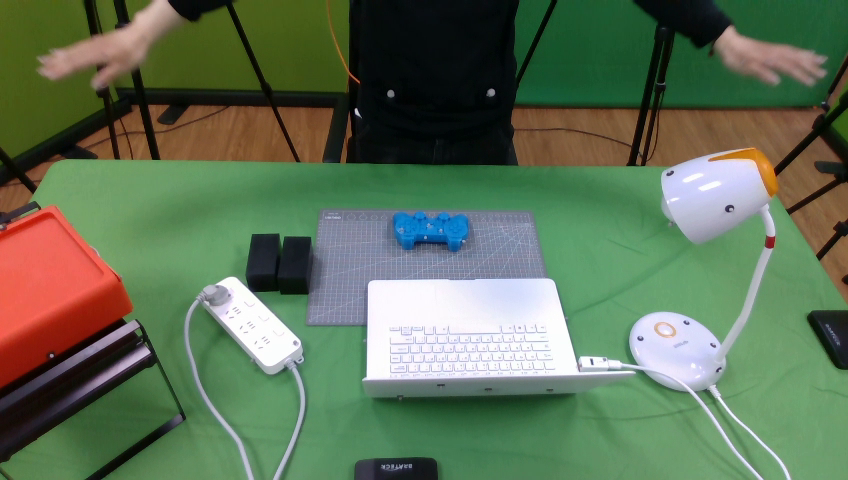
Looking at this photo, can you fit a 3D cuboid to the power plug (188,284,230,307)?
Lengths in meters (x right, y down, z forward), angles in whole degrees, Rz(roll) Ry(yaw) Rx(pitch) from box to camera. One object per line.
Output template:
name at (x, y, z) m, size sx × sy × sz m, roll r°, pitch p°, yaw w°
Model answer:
power plug at (-0.368, 0.100, 1.036) m, size 0.072 × 0.053 × 0.035 m, roll -27°, pitch 54°, yaw -24°

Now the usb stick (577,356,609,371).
usb stick at (0.274, 0.207, 1.007) m, size 0.059 × 0.027 × 0.021 m, roll 0°, pitch 52°, yaw 0°

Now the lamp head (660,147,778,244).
lamp head at (0.389, -0.063, 0.784) m, size 0.123 × 0.113 × 0.112 m, roll -22°, pitch 33°, yaw 37°

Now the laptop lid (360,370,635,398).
laptop lid at (0.090, 0.208, 0.863) m, size 0.357 × 0.242 × 0.013 m, roll 0°, pitch 71°, yaw -6°

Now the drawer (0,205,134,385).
drawer at (-0.533, 0.071, 0.802) m, size 0.193 × 0.073 × 0.211 m, roll 37°, pitch 55°, yaw 26°

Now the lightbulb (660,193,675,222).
lightbulb at (0.366, -0.060, 0.806) m, size 0.060 × 0.107 × 0.059 m, roll 17°, pitch 60°, yaw -32°

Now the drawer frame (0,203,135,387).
drawer frame at (-0.536, 0.073, 0.798) m, size 0.200 × 0.083 × 0.213 m, roll 36°, pitch 54°, yaw 26°

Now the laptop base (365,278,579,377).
laptop base at (0.076, 0.162, 1.053) m, size 0.355 × 0.023 × 0.234 m, roll 0°, pitch 44°, yaw -4°

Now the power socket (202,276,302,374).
power socket at (-0.296, 0.142, 1.034) m, size 0.072 × 0.033 × 0.225 m, roll -34°, pitch 58°, yaw -31°

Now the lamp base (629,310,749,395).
lamp base at (0.447, 0.142, 0.984) m, size 0.161 × 0.181 × 0.178 m, roll -24°, pitch 55°, yaw -24°

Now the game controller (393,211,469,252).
game controller at (0.014, -0.027, 1.204) m, size 0.155 × 0.052 × 0.096 m, roll 2°, pitch 51°, yaw -2°
